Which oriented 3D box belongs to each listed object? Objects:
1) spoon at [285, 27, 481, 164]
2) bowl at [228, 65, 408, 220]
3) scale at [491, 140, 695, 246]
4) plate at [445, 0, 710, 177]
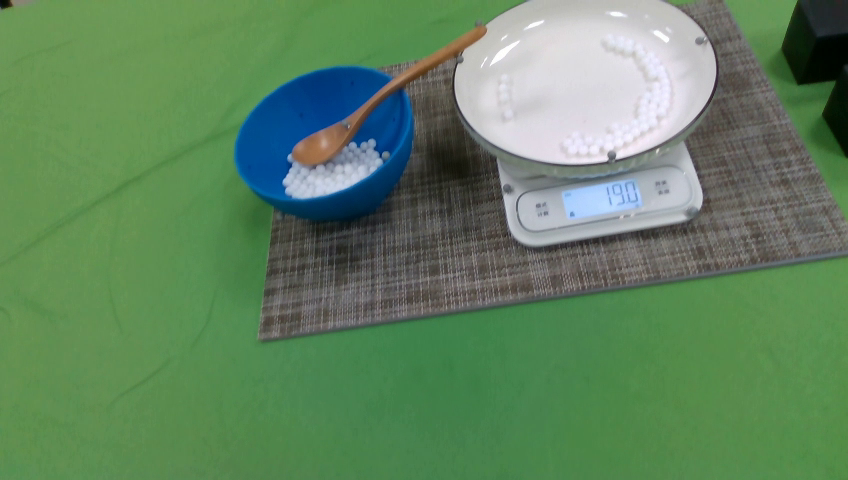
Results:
[{"bbox_3d":[-0.037,-0.119,0.501,0.194,0.022,0.041,-33,44,18],"label":"spoon"},{"bbox_3d":[-0.080,-0.069,0.520,0.151,0.077,0.150,-6,55,9],"label":"bowl"},{"bbox_3d":[0.129,-0.092,0.514,0.148,0.032,0.199,-10,55,7],"label":"scale"},{"bbox_3d":[0.122,-0.129,0.501,0.209,0.038,0.207,-6,55,9],"label":"plate"}]
